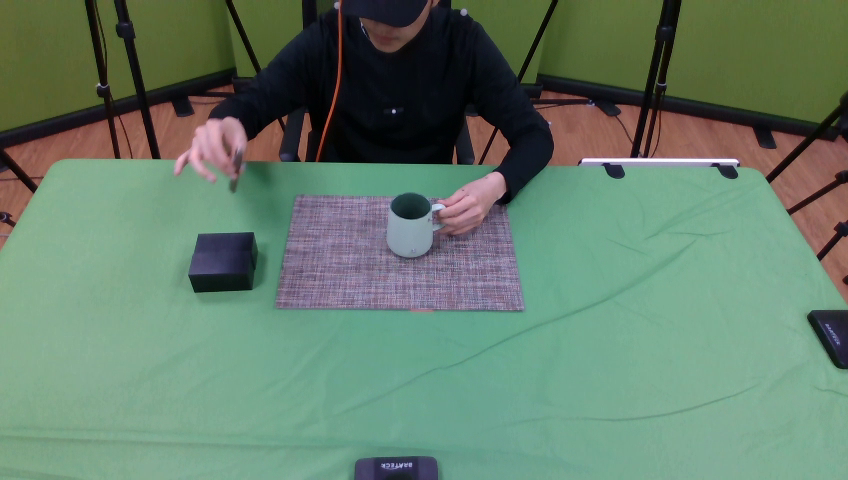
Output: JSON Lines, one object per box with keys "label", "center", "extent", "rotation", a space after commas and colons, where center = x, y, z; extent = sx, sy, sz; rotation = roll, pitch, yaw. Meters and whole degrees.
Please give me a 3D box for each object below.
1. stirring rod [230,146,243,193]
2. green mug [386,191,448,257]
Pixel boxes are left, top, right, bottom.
{"label": "stirring rod", "center": [-0.312, -0.114, 1.007], "extent": [0.014, 0.176, 0.006], "rotation": [47, 64, -1]}
{"label": "green mug", "center": [-0.012, -0.034, 1.165], "extent": [0.125, 0.105, 0.092], "rotation": [-17, 49, -19]}
